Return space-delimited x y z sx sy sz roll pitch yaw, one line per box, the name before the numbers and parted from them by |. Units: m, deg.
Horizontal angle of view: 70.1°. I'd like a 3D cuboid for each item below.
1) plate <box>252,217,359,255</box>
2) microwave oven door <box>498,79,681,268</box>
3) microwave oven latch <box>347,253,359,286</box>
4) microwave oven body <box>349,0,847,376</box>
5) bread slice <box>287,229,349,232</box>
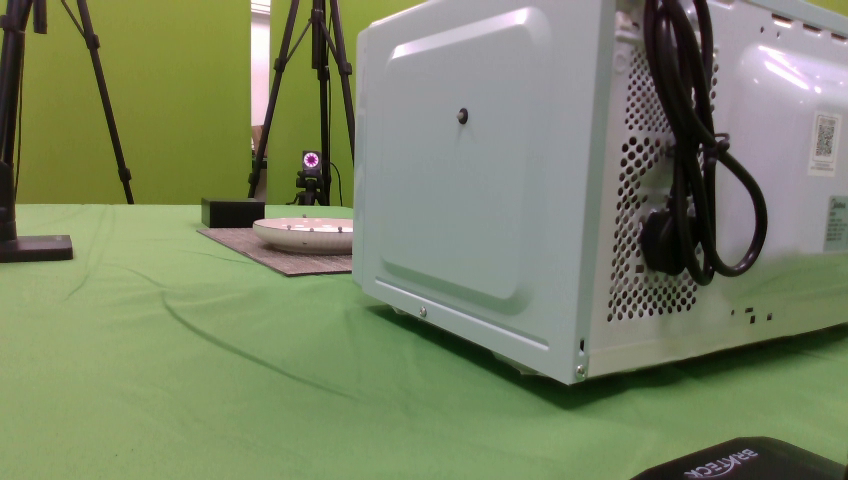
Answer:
plate | -0.155 -0.007 0.924 0.209 0.038 0.209 3 7 0
microwave oven door | 0.230 -0.105 0.924 0.039 0.243 0.354 -1 8 -26
microwave oven latch | -0.034 0.028 0.581 0.079 0.029 0.030 -1 7 -31
microwave oven body | 0.199 -0.053 0.540 0.444 0.260 0.324 -1 7 -32
bread slice | -0.153 -0.004 0.921 0.132 0.019 0.104 0 7 -30
